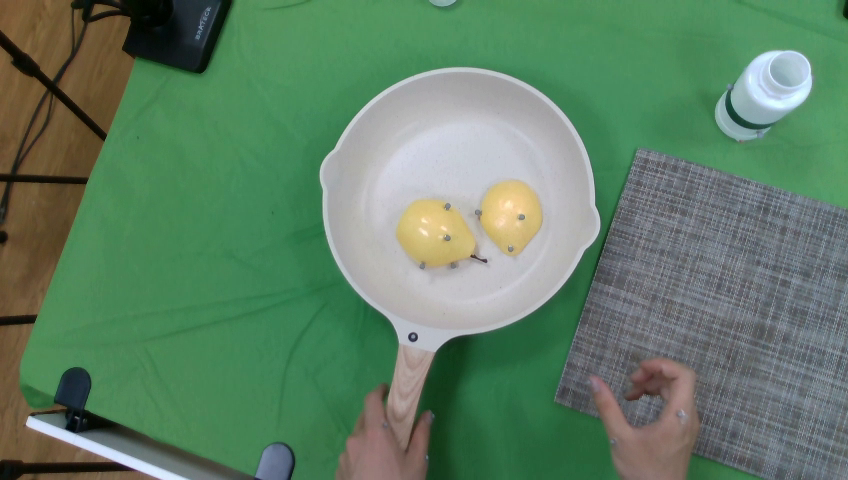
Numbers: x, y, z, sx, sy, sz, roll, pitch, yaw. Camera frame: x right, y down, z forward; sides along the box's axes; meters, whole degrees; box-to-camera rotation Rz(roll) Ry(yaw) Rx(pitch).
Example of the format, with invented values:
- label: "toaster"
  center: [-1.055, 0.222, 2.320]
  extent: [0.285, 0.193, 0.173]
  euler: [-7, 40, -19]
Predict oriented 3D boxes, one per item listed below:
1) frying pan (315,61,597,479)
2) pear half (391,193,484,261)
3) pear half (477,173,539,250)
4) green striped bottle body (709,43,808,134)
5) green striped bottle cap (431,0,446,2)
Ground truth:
- label: "frying pan"
  center: [0.005, 0.049, 0.648]
  extent: [0.306, 0.103, 0.486]
  euler: [14, 76, 9]
- label: "pear half"
  center: [0.019, -0.009, 0.677]
  extent: [0.109, 0.056, 0.076]
  euler: [25, 92, 6]
- label: "pear half"
  center: [0.094, -0.035, 0.682]
  extent: [0.070, 0.031, 0.087]
  euler: [-4, 78, 11]
- label: "green striped bottle body"
  center: [0.346, -0.158, 0.625]
  extent: [0.063, 0.120, 0.063]
  euler: [-1, 82, 7]
- label: "green striped bottle cap"
  center: [0.019, -0.314, 0.737]
  extent: [0.044, 0.020, 0.044]
  euler: [-1, 81, 8]
